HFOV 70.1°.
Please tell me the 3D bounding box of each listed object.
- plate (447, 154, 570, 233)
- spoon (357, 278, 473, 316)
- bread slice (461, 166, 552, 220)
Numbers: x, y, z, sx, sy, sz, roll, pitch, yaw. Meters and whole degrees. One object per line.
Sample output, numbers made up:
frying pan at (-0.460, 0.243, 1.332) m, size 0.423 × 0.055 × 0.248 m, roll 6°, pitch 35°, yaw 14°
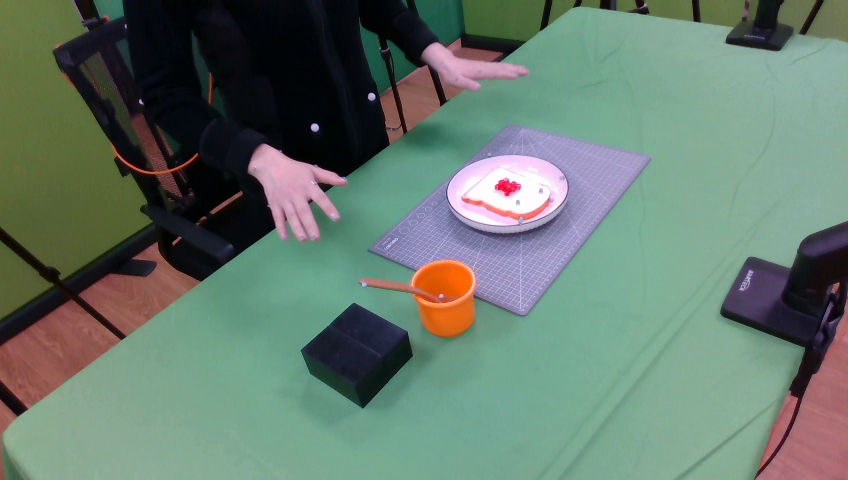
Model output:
plate at (0.143, -0.076, 1.032) m, size 0.209 × 0.038 × 0.208 m, roll -5°, pitch 40°, yaw 5°
spoon at (-0.008, 0.072, 0.804) m, size 0.021 × 0.195 × 0.041 m, roll -54°, pitch 41°, yaw 17°
bread slice at (0.149, -0.079, 1.036) m, size 0.133 × 0.018 × 0.107 m, roll 22°, pitch 50°, yaw 31°
